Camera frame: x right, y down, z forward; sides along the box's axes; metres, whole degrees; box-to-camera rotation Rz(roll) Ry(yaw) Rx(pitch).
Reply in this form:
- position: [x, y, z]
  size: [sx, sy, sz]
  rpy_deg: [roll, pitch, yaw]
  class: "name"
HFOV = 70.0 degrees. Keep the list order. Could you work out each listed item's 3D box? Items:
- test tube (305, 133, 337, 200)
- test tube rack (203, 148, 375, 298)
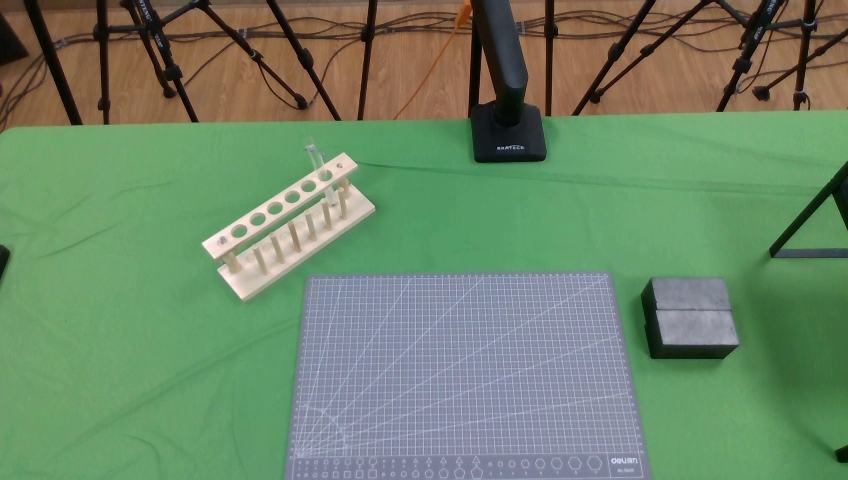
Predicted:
- position: [-0.147, -0.103, 0.875]
  size: [0.017, 0.151, 0.017]
  rpy_deg: [-2, 61, 4]
  class: "test tube"
- position: [-0.188, -0.027, 0.886]
  size: [0.242, 0.086, 0.066]
  rpy_deg: [-37, 65, -20]
  class: "test tube rack"
